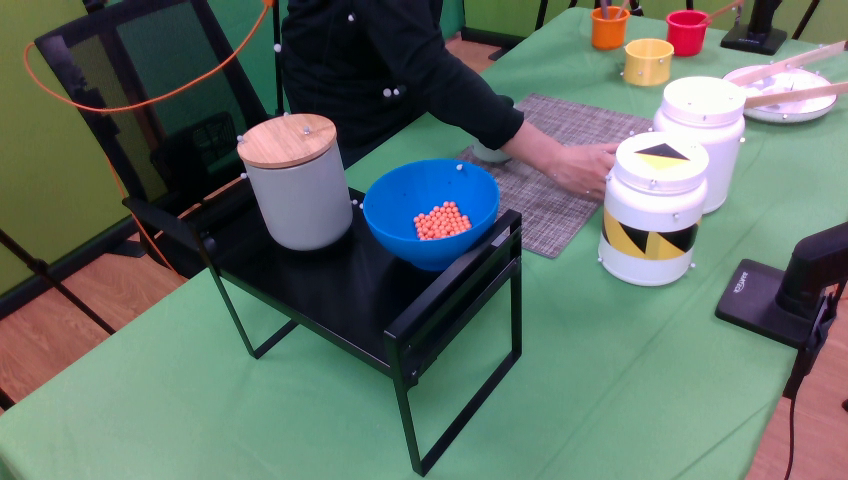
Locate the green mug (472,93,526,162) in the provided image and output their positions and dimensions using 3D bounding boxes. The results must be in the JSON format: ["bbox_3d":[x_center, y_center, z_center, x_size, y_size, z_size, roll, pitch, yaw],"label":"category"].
[{"bbox_3d":[0.144,-0.202,1.122,0.093,0.105,0.124,-29,45,-23],"label":"green mug"}]

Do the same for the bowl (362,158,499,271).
[{"bbox_3d":[0.011,-0.019,0.679,0.151,0.077,0.150,-5,41,5],"label":"bowl"}]

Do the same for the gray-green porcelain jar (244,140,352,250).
[{"bbox_3d":[-0.144,-0.060,0.714,0.106,0.127,0.105,-4,41,4],"label":"gray-green porcelain jar"}]

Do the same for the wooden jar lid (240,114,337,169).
[{"bbox_3d":[-0.149,-0.106,0.673,0.108,0.021,0.108,-6,39,5],"label":"wooden jar lid"}]

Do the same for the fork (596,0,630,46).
[{"bbox_3d":[0.481,-0.556,1.452,0.028,0.019,0.207,40,103,39],"label":"fork"}]

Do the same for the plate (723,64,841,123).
[{"bbox_3d":[0.695,-0.282,1.189,0.207,0.039,0.206,-4,40,4],"label":"plate"}]

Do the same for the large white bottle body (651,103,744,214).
[{"bbox_3d":[0.426,-0.146,0.958,0.130,0.185,0.130,-4,40,4],"label":"large white bottle body"}]

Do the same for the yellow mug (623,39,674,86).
[{"bbox_3d":[0.484,-0.398,1.334,0.100,0.064,0.130,-18,40,-11],"label":"yellow mug"}]

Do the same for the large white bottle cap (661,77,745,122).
[{"bbox_3d":[0.415,-0.210,0.904,0.115,0.018,0.114,-4,40,4],"label":"large white bottle cap"}]

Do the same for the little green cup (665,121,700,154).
[{"bbox_3d":[0.473,-0.188,1.113,0.061,0.039,0.061,-5,40,5],"label":"little green cup"}]

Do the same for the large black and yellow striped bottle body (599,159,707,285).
[{"bbox_3d":[0.320,-0.042,0.854,0.131,0.185,0.130,-4,41,4],"label":"large black and yellow striped bottle body"}]

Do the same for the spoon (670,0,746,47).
[{"bbox_3d":[0.629,-0.485,1.350,0.022,0.193,0.042,47,54,-7],"label":"spoon"}]

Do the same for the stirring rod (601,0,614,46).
[{"bbox_3d":[0.439,-0.552,1.462,0.014,0.006,0.175,-7,83,1],"label":"stirring rod"}]

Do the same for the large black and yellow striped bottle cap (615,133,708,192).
[{"bbox_3d":[0.312,-0.105,0.798,0.115,0.019,0.114,-5,41,5],"label":"large black and yellow striped bottle cap"}]

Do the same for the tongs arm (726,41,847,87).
[{"bbox_3d":[0.712,-0.332,1.194,0.386,0.026,0.050,-18,45,-16],"label":"tongs arm"}]

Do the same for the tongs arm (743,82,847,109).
[{"bbox_3d":[0.738,-0.282,1.134,0.388,0.028,0.028,-9,46,-5],"label":"tongs arm"}]
